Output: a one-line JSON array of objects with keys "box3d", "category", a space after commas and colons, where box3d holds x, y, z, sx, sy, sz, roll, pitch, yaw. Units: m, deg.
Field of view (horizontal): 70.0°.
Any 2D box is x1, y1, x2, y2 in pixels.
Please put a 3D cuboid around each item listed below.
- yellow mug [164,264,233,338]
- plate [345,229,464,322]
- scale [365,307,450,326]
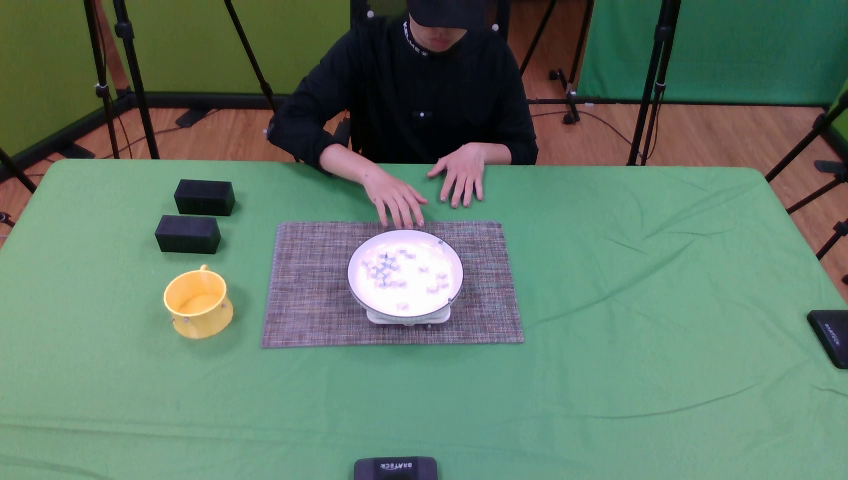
[{"box3d": [-0.384, 0.097, 1.044, 0.100, 0.064, 0.130, -1, 45, -5], "category": "yellow mug"}, {"box3d": [-0.034, 0.065, 1.073, 0.209, 0.038, 0.208, 2, 46, -2], "category": "plate"}, {"box3d": [-0.032, 0.071, 1.113, 0.149, 0.032, 0.199, 0, 46, -4], "category": "scale"}]
